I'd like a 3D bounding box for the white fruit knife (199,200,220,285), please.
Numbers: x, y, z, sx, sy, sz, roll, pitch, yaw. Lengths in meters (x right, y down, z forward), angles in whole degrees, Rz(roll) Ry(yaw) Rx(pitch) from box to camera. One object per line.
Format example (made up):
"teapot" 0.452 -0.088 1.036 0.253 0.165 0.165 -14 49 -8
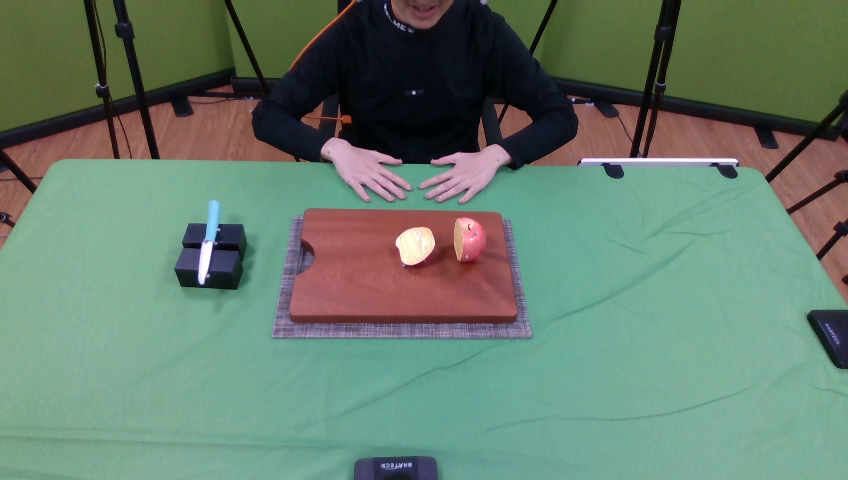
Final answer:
"white fruit knife" -0.391 0.001 1.104 0.027 0.016 0.206 -18 49 11

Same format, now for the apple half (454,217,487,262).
"apple half" 0.088 0.000 1.126 0.053 0.075 0.080 -2 42 -11

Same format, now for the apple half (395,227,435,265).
"apple half" -0.011 0.015 1.126 0.081 0.033 0.081 -9 58 15
